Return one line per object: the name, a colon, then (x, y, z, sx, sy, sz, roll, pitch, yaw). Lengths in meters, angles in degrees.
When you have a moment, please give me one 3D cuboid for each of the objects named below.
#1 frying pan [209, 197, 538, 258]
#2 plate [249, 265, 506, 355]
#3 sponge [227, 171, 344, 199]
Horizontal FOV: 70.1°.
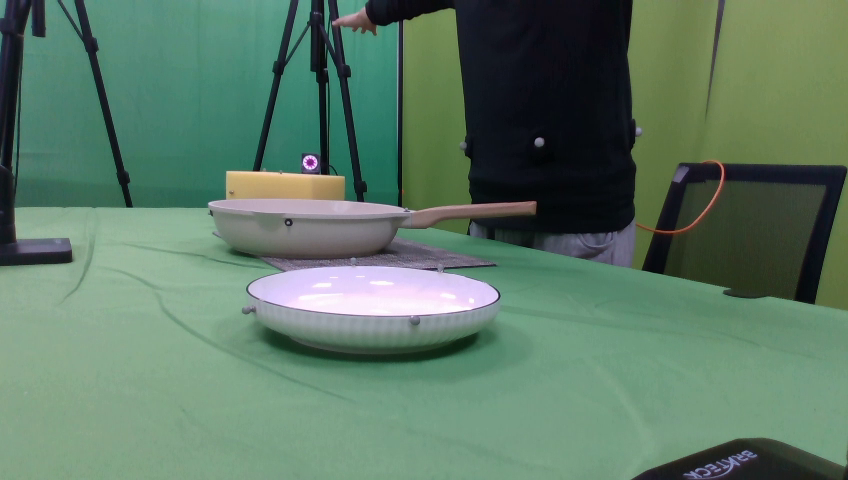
frying pan: (-0.076, -0.034, 0.912, 0.487, 0.102, 0.307, -5, 7, 12)
plate: (-0.037, 0.056, 0.504, 0.208, 0.039, 0.207, 2, 7, 0)
sponge: (-0.283, -0.108, 1.241, 0.206, 0.061, 0.118, 5, 8, 23)
